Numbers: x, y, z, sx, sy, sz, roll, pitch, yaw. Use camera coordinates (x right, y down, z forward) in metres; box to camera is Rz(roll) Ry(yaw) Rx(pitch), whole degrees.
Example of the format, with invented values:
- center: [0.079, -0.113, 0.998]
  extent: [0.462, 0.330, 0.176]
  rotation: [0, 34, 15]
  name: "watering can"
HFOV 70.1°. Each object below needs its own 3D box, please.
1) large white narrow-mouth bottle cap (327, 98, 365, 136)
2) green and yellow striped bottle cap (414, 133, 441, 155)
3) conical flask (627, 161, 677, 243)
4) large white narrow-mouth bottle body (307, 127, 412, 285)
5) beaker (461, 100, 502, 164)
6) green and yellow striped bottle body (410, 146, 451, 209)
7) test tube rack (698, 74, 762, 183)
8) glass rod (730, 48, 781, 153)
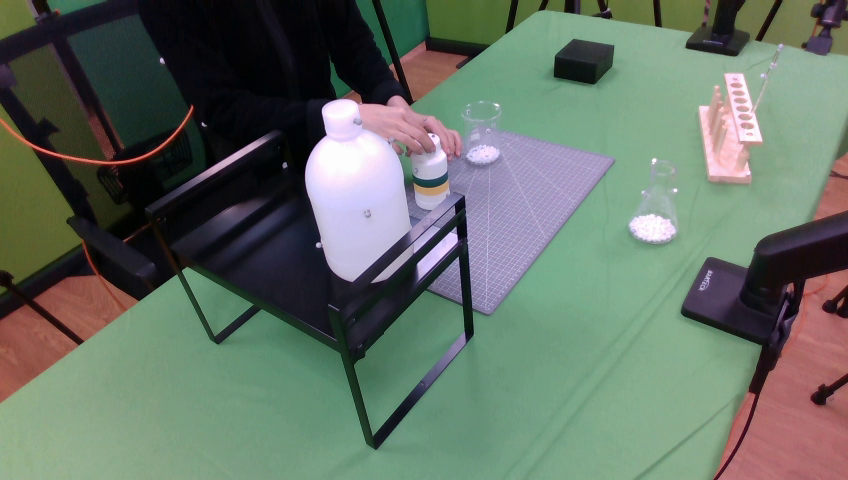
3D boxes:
- center: [-0.075, -0.118, 0.581]
  extent: [0.038, 0.024, 0.037]
  rotation: [-3, 40, 3]
  name: "large white narrow-mouth bottle cap"
- center: [0.005, -0.159, 0.996]
  extent: [0.045, 0.020, 0.045]
  rotation: [-4, 38, 4]
  name: "green and yellow striped bottle cap"
- center: [0.355, -0.061, 0.921]
  extent: [0.075, 0.122, 0.075]
  rotation: [-4, 41, 4]
  name: "conical flask"
- center: [-0.070, -0.051, 0.638]
  extent: [0.102, 0.195, 0.101]
  rotation: [-3, 40, 3]
  name: "large white narrow-mouth bottle body"
- center: [0.111, -0.200, 1.132]
  extent: [0.084, 0.100, 0.073]
  rotation: [-27, 45, -22]
  name: "beaker"
- center: [0.011, -0.117, 1.032]
  extent: [0.063, 0.120, 0.063]
  rotation: [-4, 40, 4]
  name: "green and yellow striped bottle body"
- center: [0.547, -0.208, 1.095]
  extent: [0.066, 0.085, 0.242]
  rotation: [5, 42, 15]
  name: "test tube rack"
- center: [0.554, -0.228, 1.015]
  extent: [0.008, 0.200, 0.008]
  rotation: [1, 44, -1]
  name: "glass rod"
